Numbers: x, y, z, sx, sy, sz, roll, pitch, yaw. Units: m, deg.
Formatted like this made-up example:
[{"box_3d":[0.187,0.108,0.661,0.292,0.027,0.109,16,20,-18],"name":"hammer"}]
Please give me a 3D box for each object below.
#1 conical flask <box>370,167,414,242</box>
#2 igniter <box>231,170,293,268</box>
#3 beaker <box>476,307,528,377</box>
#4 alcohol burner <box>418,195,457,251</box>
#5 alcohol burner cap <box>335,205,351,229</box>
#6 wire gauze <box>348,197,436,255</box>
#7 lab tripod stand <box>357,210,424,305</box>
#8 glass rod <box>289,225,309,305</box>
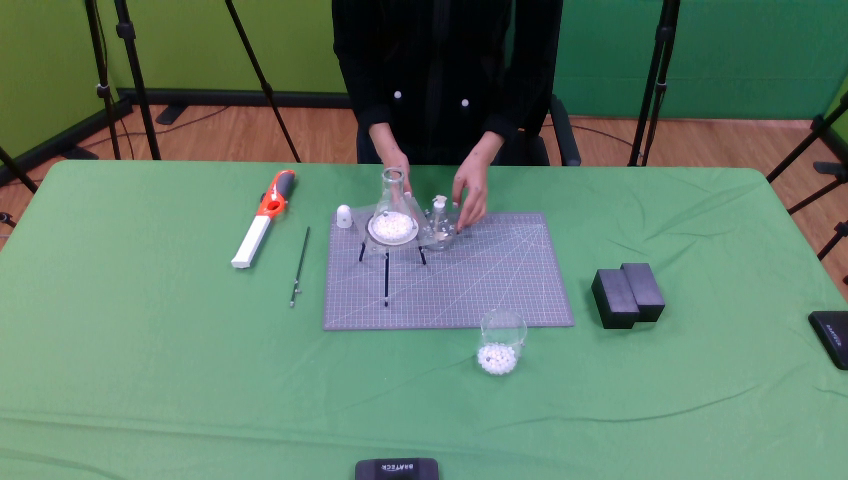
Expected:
[{"box_3d":[-0.053,-0.062,1.000,0.075,0.122,0.075,2,44,-2],"name":"conical flask"},{"box_3d":[-0.321,-0.051,1.220,0.057,0.025,0.275,1,45,11],"name":"igniter"},{"box_3d":[0.122,0.171,0.991,0.084,0.101,0.073,-34,56,-31],"name":"beaker"},{"box_3d":[0.026,-0.037,1.171,0.078,0.120,0.077,1,45,-1],"name":"alcohol burner"},{"box_3d":[-0.164,-0.049,1.216,0.034,0.048,0.033,1,45,-1],"name":"alcohol burner cap"},{"box_3d":[-0.056,-0.025,1.046,0.125,0.011,0.120,-14,46,-15],"name":"wire gauze"},{"box_3d":[-0.060,0.020,1.094,0.148,0.132,0.147,3,44,-2],"name":"lab tripod stand"},{"box_3d":[-0.236,0.043,1.149,0.008,0.008,0.198,3,46,-1],"name":"glass rod"}]
